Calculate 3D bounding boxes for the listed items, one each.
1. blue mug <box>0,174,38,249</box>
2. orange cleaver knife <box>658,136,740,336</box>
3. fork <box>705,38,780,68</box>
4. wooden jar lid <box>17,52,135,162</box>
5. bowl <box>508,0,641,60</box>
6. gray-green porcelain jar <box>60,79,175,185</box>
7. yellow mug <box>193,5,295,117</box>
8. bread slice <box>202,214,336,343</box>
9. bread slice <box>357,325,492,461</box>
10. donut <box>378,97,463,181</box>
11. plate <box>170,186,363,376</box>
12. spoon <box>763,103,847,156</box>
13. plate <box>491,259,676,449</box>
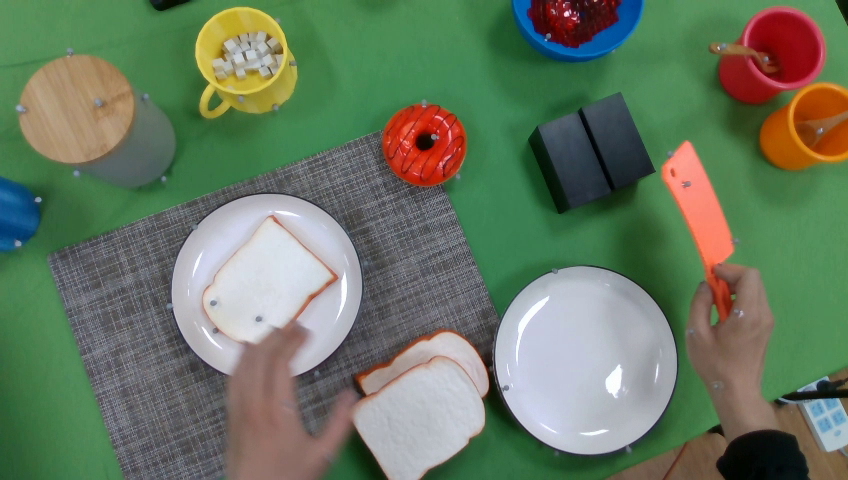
[{"bbox_3d":[-0.490,-0.025,0.637,0.082,0.106,0.116,42,84,3],"label":"blue mug"},{"bbox_3d":[0.296,-0.005,0.634,0.077,0.012,0.211,-25,95,-35],"label":"orange cleaver knife"},{"bbox_3d":[0.359,-0.212,0.678,0.208,0.018,0.028,-10,83,-46],"label":"fork"},{"bbox_3d":[-0.331,-0.126,0.583,0.108,0.021,0.108,0,82,-1],"label":"wooden jar lid"},{"bbox_3d":[0.167,-0.274,0.709,0.151,0.077,0.151,0,84,-2],"label":"bowl"},{"bbox_3d":[-0.334,-0.118,0.644,0.106,0.126,0.105,0,83,-3],"label":"gray-green porcelain jar"},{"bbox_3d":[-0.212,-0.193,0.689,0.100,0.064,0.130,36,84,2],"label":"yellow mug"},{"bbox_3d":[-0.179,0.050,0.676,0.105,0.019,0.131,41,82,3],"label":"bread slice"},{"bbox_3d":[0.012,0.153,0.644,0.134,0.018,0.106,-27,82,-33],"label":"bread slice"},{"bbox_3d":[-0.003,-0.116,0.697,0.099,0.048,0.099,0,84,-3],"label":"donut"},{"bbox_3d":[-0.171,0.045,0.675,0.208,0.039,0.207,0,84,-3],"label":"plate"},{"bbox_3d":[0.481,-0.151,0.676,0.022,0.193,0.041,-15,78,-48],"label":"spoon"},{"bbox_3d":[0.177,0.127,0.687,0.209,0.038,0.208,0,84,-2],"label":"plate"}]
